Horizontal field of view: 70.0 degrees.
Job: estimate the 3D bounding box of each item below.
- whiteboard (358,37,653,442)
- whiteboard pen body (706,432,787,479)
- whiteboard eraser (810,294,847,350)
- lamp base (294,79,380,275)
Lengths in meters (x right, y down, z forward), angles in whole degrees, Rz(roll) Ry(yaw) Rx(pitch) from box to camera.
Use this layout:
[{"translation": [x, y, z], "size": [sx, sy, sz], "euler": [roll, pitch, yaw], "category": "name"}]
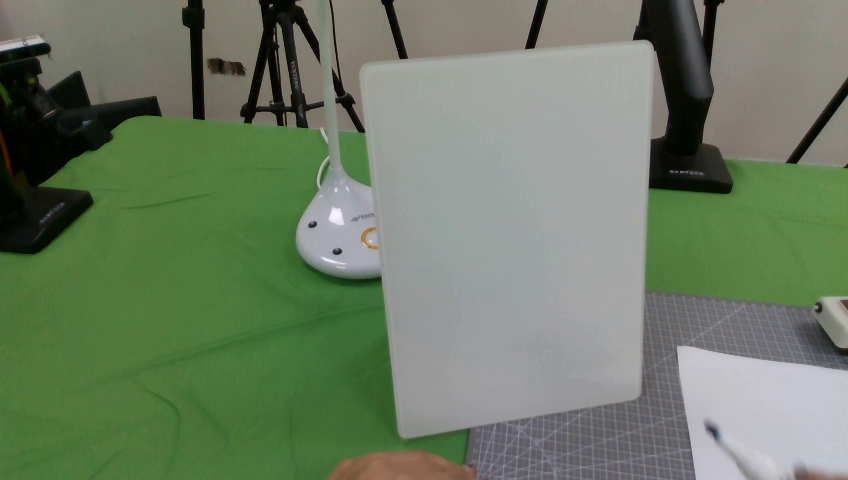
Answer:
[{"translation": [0.063, -0.010, 0.535], "size": [0.217, 0.307, 0.143], "euler": [-7, 19, -7], "category": "whiteboard"}, {"translation": [0.170, 0.127, 0.235], "size": [0.017, 0.017, 0.139], "euler": [-24, 49, -27], "category": "whiteboard pen body"}, {"translation": [0.439, 0.080, 0.579], "size": [0.113, 0.042, 0.055], "euler": [0, 38, 1], "category": "whiteboard eraser"}, {"translation": [-0.082, -0.079, 0.683], "size": [0.161, 0.182, 0.177], "euler": [-25, 41, -29], "category": "lamp base"}]
